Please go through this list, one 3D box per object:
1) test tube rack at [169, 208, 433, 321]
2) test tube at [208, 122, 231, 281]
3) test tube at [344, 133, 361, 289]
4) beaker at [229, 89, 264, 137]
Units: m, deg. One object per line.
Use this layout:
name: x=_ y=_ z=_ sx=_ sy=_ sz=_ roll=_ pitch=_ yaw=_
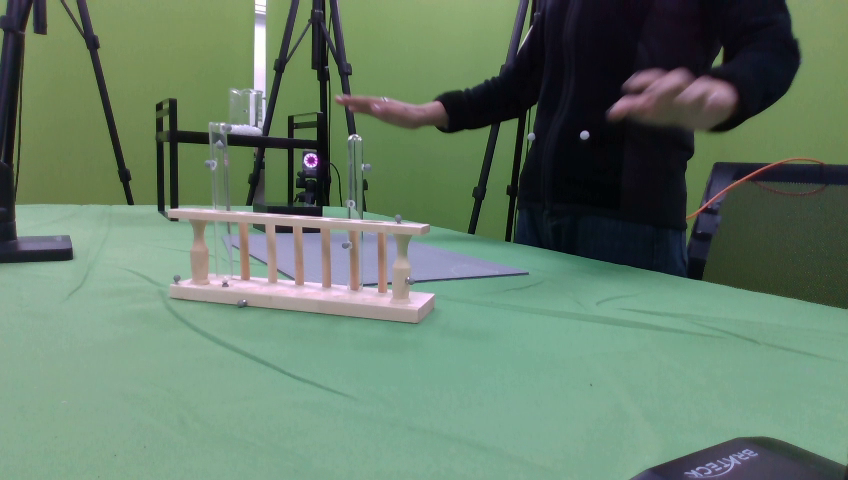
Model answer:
test tube rack: x=-0.115 y=0.018 z=0.574 sx=0.242 sy=0.085 sz=0.067 roll=4 pitch=8 yaw=13
test tube: x=-0.191 y=-0.034 z=0.565 sx=0.017 sy=0.150 sz=0.017 roll=2 pitch=11 yaw=0
test tube: x=-0.068 y=-0.025 z=0.575 sx=0.017 sy=0.150 sz=0.017 roll=1 pitch=11 yaw=0
beaker: x=-0.391 y=-0.277 z=1.329 sx=0.074 sy=0.100 sz=0.084 roll=2 pitch=8 yaw=-1
